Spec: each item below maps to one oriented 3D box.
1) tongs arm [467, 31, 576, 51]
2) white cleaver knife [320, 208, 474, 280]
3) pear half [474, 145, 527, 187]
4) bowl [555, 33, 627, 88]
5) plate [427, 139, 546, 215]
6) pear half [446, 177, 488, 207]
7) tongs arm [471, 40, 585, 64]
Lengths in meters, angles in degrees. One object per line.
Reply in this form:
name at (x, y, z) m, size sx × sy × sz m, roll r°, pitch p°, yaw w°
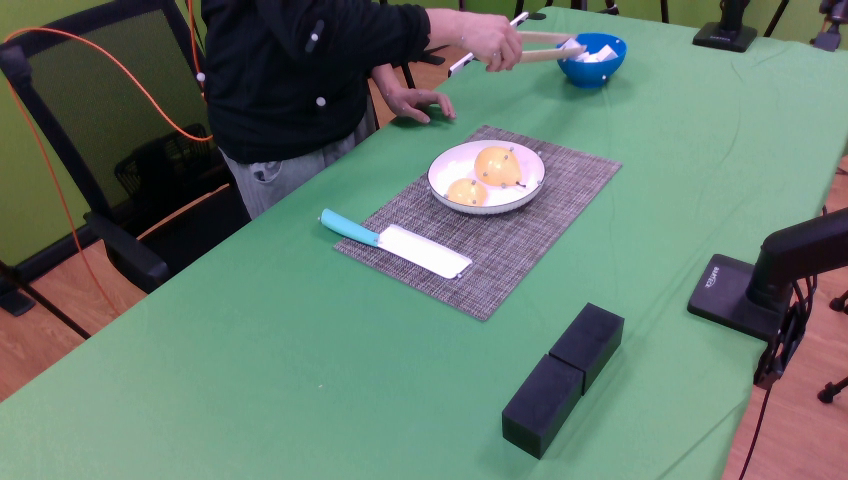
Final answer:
tongs arm at (0.200, -0.384, 1.170) m, size 0.390 × 0.027 × 0.028 m, roll -20°, pitch 71°, yaw -47°
white cleaver knife at (-0.053, 0.001, 0.978) m, size 0.284 × 0.021 × 0.066 m, roll 23°, pitch 40°, yaw 26°
pear half at (0.140, -0.129, 1.059) m, size 0.076 × 0.056 × 0.109 m, roll -37°, pitch 52°, yaw -24°
bowl at (0.360, -0.384, 1.318) m, size 0.151 × 0.077 × 0.150 m, roll -4°, pitch 41°, yaw 4°
plate at (0.109, -0.106, 1.058) m, size 0.207 × 0.039 × 0.206 m, roll -4°, pitch 40°, yaw 4°
pear half at (0.073, -0.086, 1.032) m, size 0.070 × 0.031 × 0.087 m, roll -20°, pitch 36°, yaw -9°
tongs arm at (0.213, -0.367, 1.164) m, size 0.050 × 0.026 × 0.387 m, roll 50°, pitch 40°, yaw 11°
